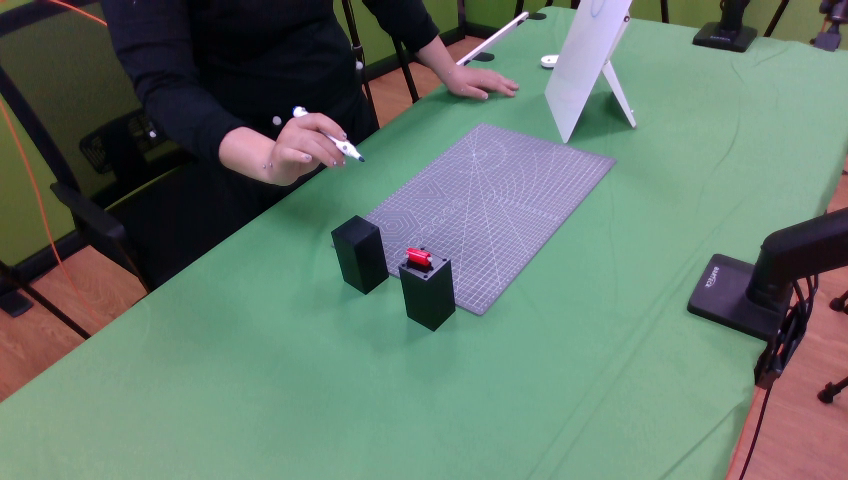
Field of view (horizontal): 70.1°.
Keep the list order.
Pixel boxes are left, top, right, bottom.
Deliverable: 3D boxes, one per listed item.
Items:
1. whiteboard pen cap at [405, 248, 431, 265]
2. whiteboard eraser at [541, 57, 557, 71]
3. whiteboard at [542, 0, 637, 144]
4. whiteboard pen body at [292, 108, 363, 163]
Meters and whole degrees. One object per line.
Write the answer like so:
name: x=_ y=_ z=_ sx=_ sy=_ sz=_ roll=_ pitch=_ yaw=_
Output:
whiteboard pen cap: x=-0.008 y=0.021 z=0.794 sx=0.032 sy=0.017 sz=0.017 roll=17 pitch=46 yaw=28
whiteboard eraser: x=0.323 y=-0.412 z=1.407 sx=0.101 sy=0.019 sz=0.041 roll=1 pitch=42 yaw=11
whiteboard: x=0.366 y=-0.351 z=1.160 sx=0.144 sy=0.305 sz=0.216 roll=10 pitch=39 yaw=-10
whiteboard pen body: x=-0.127 y=-0.137 z=0.793 sx=0.139 sy=0.017 sz=0.017 roll=38 pitch=57 yaw=26
